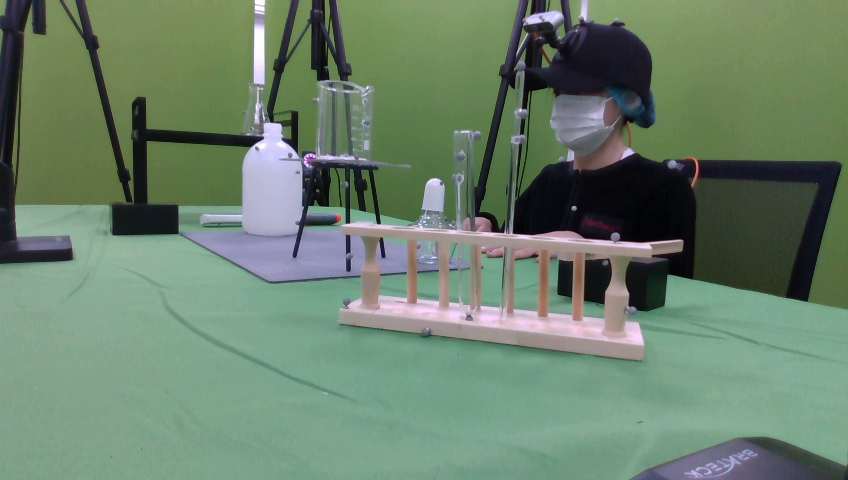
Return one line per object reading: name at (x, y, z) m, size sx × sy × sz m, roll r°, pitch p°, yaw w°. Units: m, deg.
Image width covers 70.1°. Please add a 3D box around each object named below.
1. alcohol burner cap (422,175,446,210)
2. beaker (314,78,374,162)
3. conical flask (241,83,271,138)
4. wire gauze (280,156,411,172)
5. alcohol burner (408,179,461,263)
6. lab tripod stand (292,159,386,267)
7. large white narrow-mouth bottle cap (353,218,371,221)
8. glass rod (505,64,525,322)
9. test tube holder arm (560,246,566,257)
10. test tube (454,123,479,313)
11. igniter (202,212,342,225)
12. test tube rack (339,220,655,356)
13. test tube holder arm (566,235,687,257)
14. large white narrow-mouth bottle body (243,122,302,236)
alcohol burner cap at (0.016, -0.065, 0.830) m, size 0.034 × 0.048 × 0.034 m, roll 7°, pitch 4°, yaw 0°
beaker at (-0.101, -0.150, 0.774) m, size 0.074 × 0.100 × 0.083 m, roll -2°, pitch 8°, yaw -40°
conical flask at (-0.384, -0.297, 1.393) m, size 0.075 × 0.122 × 0.075 m, roll 2°, pitch 7°, yaw 0°
wire gauze at (-0.103, -0.103, 0.785) m, size 0.121 × 0.011 × 0.126 m, roll 11°, pitch 8°, yaw 42°
alcohol burner at (0.013, -0.029, 0.834) m, size 0.078 × 0.119 × 0.078 m, roll 0°, pitch 6°, yaw 0°
lab tripod stand at (-0.105, -0.039, 0.797) m, size 0.148 × 0.131 × 0.148 m, roll 2°, pitch 5°, yaw 0°
large white narrow-mouth bottle cap at (-0.120, -0.029, 1.184) m, size 0.038 × 0.024 × 0.037 m, roll 2°, pitch 8°, yaw 0°
glass rod at (0.069, -0.030, 0.458) m, size 0.008 × 0.199 × 0.008 m, roll 1°, pitch 15°, yaw 0°
test tube holder arm at (0.173, 0.007, 0.612) m, size 0.088 × 0.015 × 0.010 m, roll -3°, pitch 9°, yaw -30°
test tube at (0.034, -0.016, 0.477) m, size 0.017 × 0.150 × 0.017 m, roll -2°, pitch 9°, yaw 1°
igniter at (-0.298, -0.043, 1.216) m, size 0.278 × 0.025 × 0.057 m, roll -3°, pitch -2°, yaw -32°
test tube rack at (0.056, 0.032, 0.495) m, size 0.242 × 0.085 × 0.067 m, roll 4°, pitch 7°, yaw 15°
test tube holder arm at (0.215, 0.006, 0.630) m, size 0.179 × 0.015 × 0.013 m, roll -3°, pitch 9°, yaw -30°
large white narrow-mouth bottle body at (-0.265, -0.109, 1.061) m, size 0.102 × 0.194 × 0.102 m, roll 2°, pitch 8°, yaw 0°
